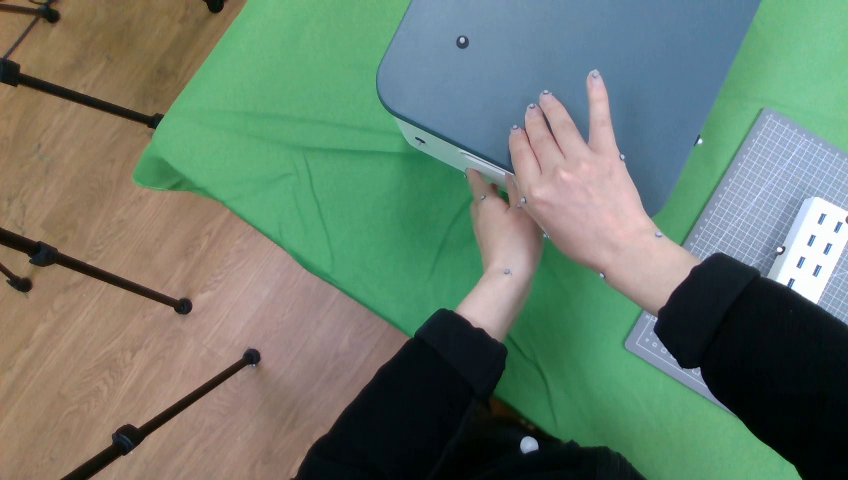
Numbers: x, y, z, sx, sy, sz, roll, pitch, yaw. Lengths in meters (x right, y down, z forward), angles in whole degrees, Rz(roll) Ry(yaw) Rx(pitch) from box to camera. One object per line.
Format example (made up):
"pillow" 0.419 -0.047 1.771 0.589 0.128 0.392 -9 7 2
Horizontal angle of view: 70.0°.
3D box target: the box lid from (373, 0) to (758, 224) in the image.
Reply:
"box lid" 0.143 -0.222 0.509 0.263 0.015 0.371 26 87 3

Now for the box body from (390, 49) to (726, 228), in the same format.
"box body" 0.146 -0.217 0.582 0.254 0.160 0.363 26 87 3

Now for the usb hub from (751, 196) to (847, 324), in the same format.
"usb hub" 0.390 0.020 0.626 0.049 0.025 0.125 27 87 3
